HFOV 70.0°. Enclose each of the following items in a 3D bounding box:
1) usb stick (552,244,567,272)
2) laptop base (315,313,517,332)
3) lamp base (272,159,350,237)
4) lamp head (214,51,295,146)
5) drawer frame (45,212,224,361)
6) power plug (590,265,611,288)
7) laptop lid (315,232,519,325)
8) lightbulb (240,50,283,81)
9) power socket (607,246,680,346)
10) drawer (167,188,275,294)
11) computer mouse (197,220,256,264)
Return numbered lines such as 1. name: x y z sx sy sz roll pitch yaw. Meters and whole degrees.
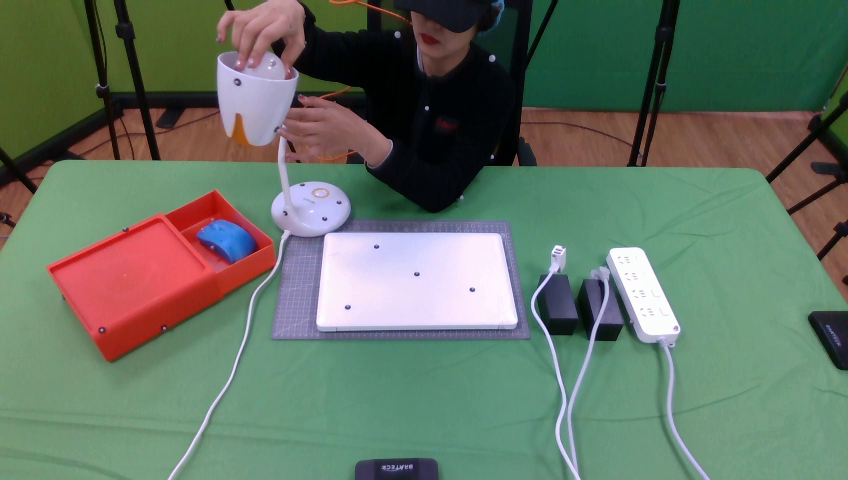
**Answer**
1. usb stick: 0.251 0.039 1.123 0.021 0.059 0.027 14 47 24
2. laptop base: -0.016 0.075 1.125 0.355 0.023 0.234 0 42 -4
3. lamp base: -0.233 -0.111 1.176 0.160 0.181 0.178 17 50 14
4. lamp head: -0.252 -0.204 0.891 0.112 0.123 0.112 12 35 -8
5. drawer frame: -0.495 0.072 1.050 0.213 0.083 0.200 -34 57 -30
6. power plug: 0.318 0.073 1.108 0.035 0.053 0.072 26 33 12
7. laptop lid: -0.015 0.065 1.118 0.357 0.013 0.240 1 43 -3
8. lightbulb: -0.239 -0.220 0.877 0.059 0.108 0.059 15 31 -9
9. power socket: 0.403 0.096 1.123 0.072 0.033 0.225 -3 46 -5
10. drawer: -0.416 0.021 1.109 0.211 0.073 0.193 -34 58 -31
11. computer mouse: -0.377 -0.002 1.154 0.116 0.041 0.063 30 51 27
